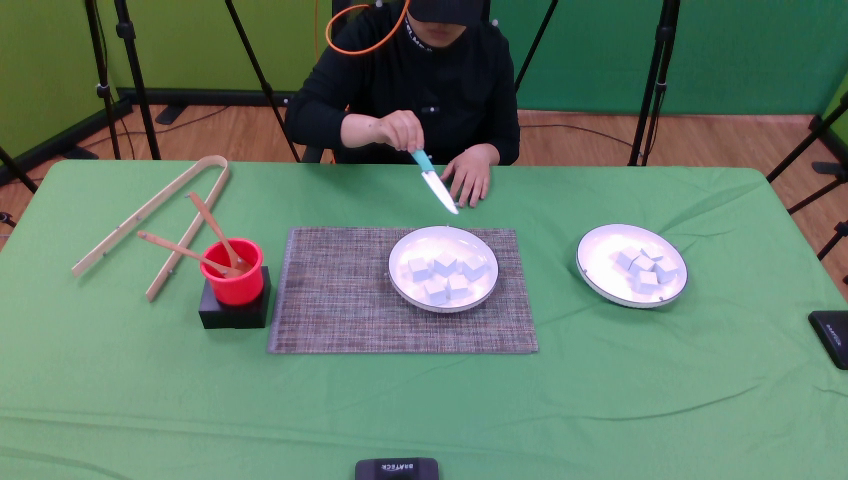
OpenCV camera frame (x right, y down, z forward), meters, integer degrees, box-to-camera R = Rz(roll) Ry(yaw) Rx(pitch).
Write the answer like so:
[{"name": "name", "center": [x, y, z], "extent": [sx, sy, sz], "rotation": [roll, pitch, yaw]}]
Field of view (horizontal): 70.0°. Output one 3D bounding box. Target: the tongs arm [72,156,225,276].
[{"name": "tongs arm", "center": [-0.531, -0.057, 1.205], "extent": [0.050, 0.026, 0.383], "rotation": [19, 47, 12]}]

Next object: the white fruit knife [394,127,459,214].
[{"name": "white fruit knife", "center": [0.007, -0.127, 1.085], "extent": [0.027, 0.016, 0.206], "rotation": [-33, 70, 2]}]

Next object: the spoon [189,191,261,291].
[{"name": "spoon", "center": [-0.333, 0.001, 1.011], "extent": [0.041, 0.194, 0.021], "rotation": [-34, 15, -25]}]

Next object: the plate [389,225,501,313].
[{"name": "plate", "center": [0.038, 0.057, 1.129], "extent": [0.208, 0.039, 0.206], "rotation": [2, 46, -2]}]

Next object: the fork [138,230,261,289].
[{"name": "fork", "center": [-0.359, 0.032, 0.981], "extent": [0.208, 0.018, 0.028], "rotation": [31, 60, -30]}]

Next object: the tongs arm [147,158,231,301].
[{"name": "tongs arm", "center": [-0.454, -0.034, 1.194], "extent": [0.028, 0.028, 0.385], "rotation": [7, 46, 6]}]

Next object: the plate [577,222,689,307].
[{"name": "plate", "center": [0.396, 0.050, 1.165], "extent": [0.209, 0.038, 0.208], "rotation": [2, 47, -2]}]
